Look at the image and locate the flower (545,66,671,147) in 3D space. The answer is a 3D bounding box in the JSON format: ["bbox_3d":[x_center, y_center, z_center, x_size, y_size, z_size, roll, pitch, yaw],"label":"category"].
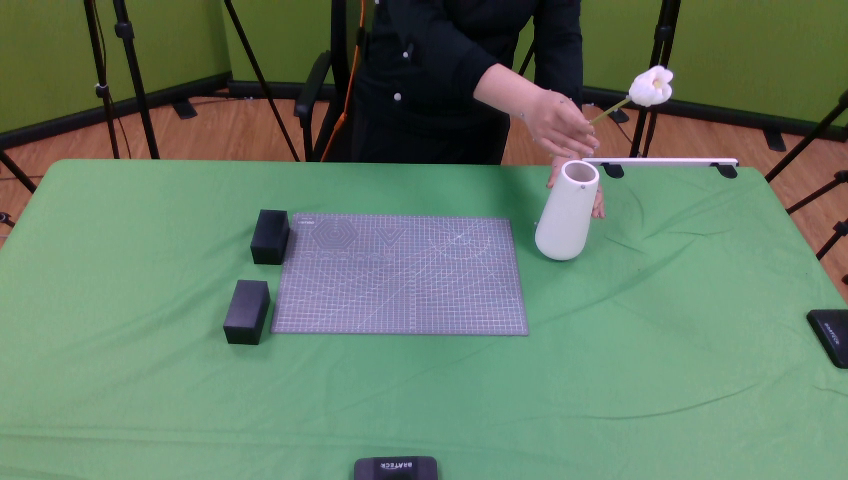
[{"bbox_3d":[0.255,-0.182,0.913,0.038,0.361,0.044,-24,91,-12],"label":"flower"}]

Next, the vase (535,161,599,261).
[{"bbox_3d":[0.271,-0.052,1.145,0.098,0.201,0.097,1,46,-1],"label":"vase"}]
